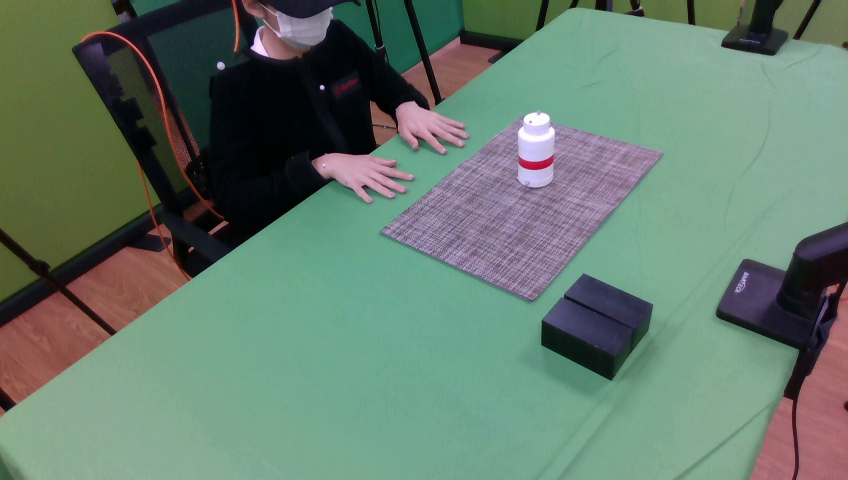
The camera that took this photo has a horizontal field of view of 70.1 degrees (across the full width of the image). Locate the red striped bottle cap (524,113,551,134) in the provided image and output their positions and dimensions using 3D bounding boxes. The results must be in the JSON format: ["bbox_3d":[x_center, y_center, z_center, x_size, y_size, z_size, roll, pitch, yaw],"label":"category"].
[{"bbox_3d":[0.190,-0.196,1.013,0.044,0.018,0.044,-7,39,6],"label":"red striped bottle cap"}]

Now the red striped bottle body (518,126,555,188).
[{"bbox_3d":[0.195,-0.156,1.046,0.063,0.120,0.062,-5,39,4],"label":"red striped bottle body"}]
